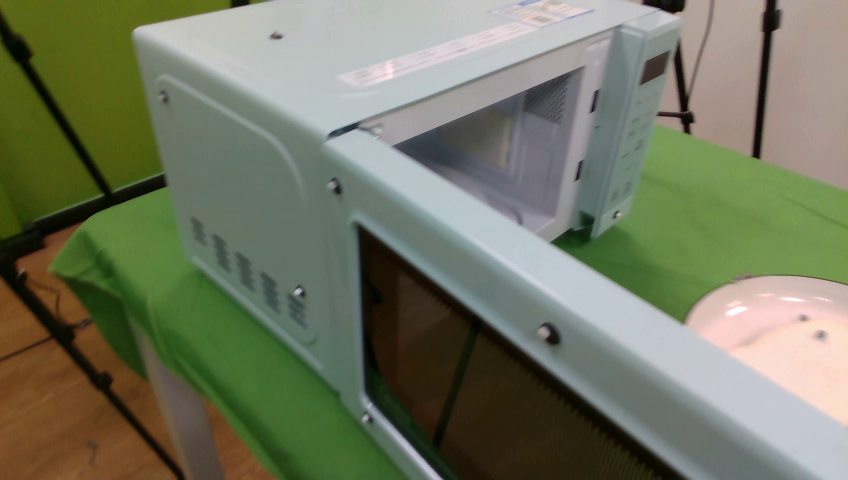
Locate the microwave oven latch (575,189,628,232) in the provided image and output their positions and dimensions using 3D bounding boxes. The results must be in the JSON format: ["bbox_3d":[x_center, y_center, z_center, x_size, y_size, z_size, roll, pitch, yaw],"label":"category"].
[{"bbox_3d":[0.215,-0.040,0.730,0.030,0.030,0.079,32,46,34],"label":"microwave oven latch"}]

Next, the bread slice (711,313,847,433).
[{"bbox_3d":[0.296,0.101,0.466,0.132,0.019,0.103,-19,39,-17],"label":"bread slice"}]

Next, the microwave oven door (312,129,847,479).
[{"bbox_3d":[0.053,0.109,0.338,0.039,0.246,0.352,-26,44,-33],"label":"microwave oven door"}]

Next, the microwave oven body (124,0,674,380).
[{"bbox_3d":[-0.013,-0.109,0.647,0.323,0.262,0.442,31,46,33],"label":"microwave oven body"}]

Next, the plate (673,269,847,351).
[{"bbox_3d":[0.298,0.101,0.463,0.209,0.038,0.207,-4,36,3],"label":"plate"}]
